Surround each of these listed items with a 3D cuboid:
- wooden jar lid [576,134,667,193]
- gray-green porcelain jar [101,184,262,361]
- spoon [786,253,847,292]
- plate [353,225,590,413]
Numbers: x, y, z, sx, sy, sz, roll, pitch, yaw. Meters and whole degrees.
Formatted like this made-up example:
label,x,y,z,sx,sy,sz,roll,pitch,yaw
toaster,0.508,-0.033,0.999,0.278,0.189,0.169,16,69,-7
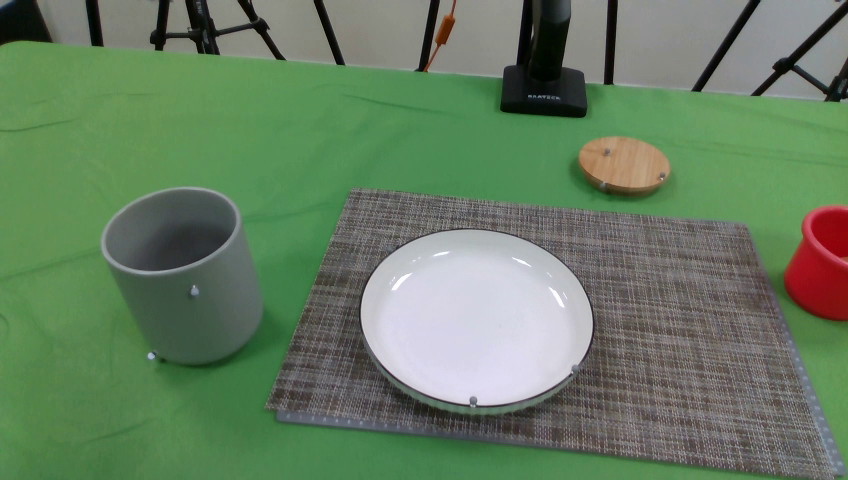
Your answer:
label,x,y,z,sx,sy,sz,roll,pitch,yaw
wooden jar lid,0.240,-0.094,0.742,0.108,0.021,0.107,1,44,-1
gray-green porcelain jar,-0.200,0.033,0.519,0.106,0.127,0.105,1,43,-1
spoon,0.436,0.004,0.553,0.193,0.022,0.041,-30,30,34
plate,0.041,0.068,0.547,0.208,0.039,0.205,1,43,-1
